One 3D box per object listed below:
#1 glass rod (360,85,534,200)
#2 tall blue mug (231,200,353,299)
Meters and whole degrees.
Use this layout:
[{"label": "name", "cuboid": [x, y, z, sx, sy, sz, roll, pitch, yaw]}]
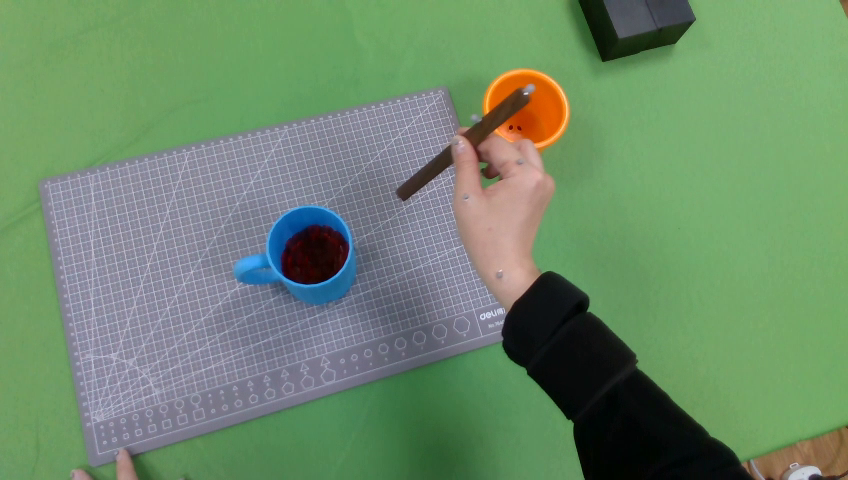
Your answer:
[{"label": "glass rod", "cuboid": [0.009, -0.074, 0.493, 0.008, 0.199, 0.008, 23, 55, -37]}, {"label": "tall blue mug", "cuboid": [-0.121, 0.022, 0.585, 0.107, 0.108, 0.077, -39, 84, -13]}]
